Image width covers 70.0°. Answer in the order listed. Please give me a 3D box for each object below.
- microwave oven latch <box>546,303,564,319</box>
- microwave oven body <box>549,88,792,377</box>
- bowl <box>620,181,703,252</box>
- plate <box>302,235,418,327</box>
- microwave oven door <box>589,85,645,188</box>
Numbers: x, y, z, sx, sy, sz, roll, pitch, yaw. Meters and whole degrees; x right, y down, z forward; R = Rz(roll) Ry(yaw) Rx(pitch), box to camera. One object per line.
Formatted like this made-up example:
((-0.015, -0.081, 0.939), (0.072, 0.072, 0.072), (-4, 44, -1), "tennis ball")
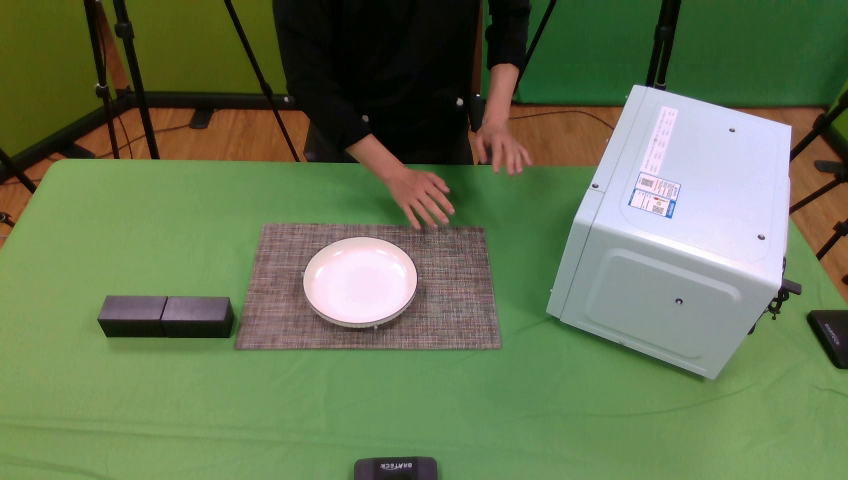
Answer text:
((0.242, 0.102, 1.081), (0.030, 0.029, 0.079), (21, 48, 17), "microwave oven latch")
((0.456, -0.028, 1.088), (0.325, 0.261, 0.440), (20, 47, 16), "microwave oven body")
((0.433, -0.031, 1.140), (0.151, 0.077, 0.150), (4, 49, -4), "bowl")
((-0.114, 0.077, 1.098), (0.208, 0.039, 0.206), (2, 46, -2), "plate")
((0.342, -0.107, 1.149), (0.039, 0.245, 0.354), (20, 48, 15), "microwave oven door")
